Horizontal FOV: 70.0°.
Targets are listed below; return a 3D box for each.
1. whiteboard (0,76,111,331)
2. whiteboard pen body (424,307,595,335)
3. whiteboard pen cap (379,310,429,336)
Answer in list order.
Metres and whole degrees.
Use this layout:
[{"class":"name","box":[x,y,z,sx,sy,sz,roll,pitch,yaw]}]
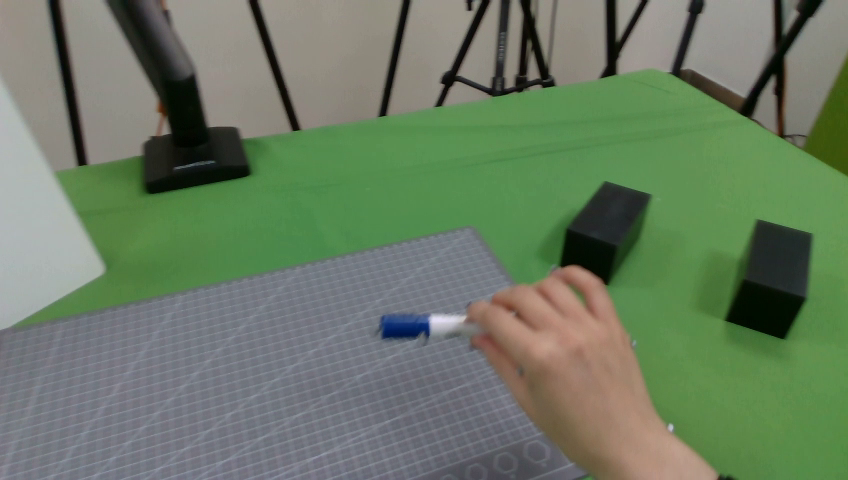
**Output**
[{"class":"whiteboard","box":[-0.462,-0.057,0.505,0.143,0.308,0.217,7,35,41]},{"class":"whiteboard pen body","box":[0.046,0.054,0.403,0.141,0.017,0.017,0,38,-10]},{"class":"whiteboard pen cap","box":[-0.012,0.055,0.393,0.033,0.018,0.018,3,37,-11]}]
